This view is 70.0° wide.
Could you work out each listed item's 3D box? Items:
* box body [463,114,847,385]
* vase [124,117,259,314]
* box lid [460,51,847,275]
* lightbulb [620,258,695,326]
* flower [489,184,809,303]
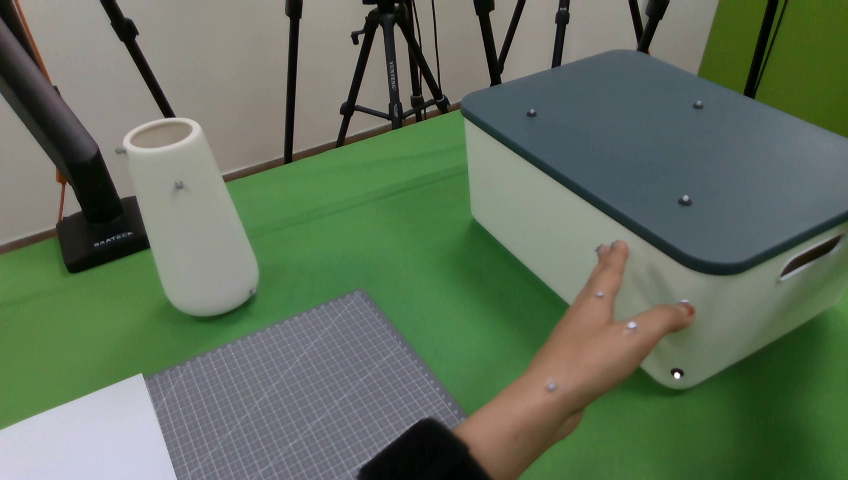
[{"bbox_3d":[0.234,-0.046,0.645,0.254,0.162,0.360,-21,40,-21],"label":"box body"},{"bbox_3d":[-0.235,-0.020,0.615,0.098,0.202,0.097,-3,36,3],"label":"vase"},{"bbox_3d":[0.231,-0.104,0.598,0.264,0.015,0.367,-21,40,-21],"label":"box lid"},{"bbox_3d":[0.226,0.045,0.606,0.059,0.060,0.107,-7,21,-5],"label":"lightbulb"},{"bbox_3d":[0.242,0.003,0.694,0.359,0.038,0.044,21,39,22],"label":"flower"}]
